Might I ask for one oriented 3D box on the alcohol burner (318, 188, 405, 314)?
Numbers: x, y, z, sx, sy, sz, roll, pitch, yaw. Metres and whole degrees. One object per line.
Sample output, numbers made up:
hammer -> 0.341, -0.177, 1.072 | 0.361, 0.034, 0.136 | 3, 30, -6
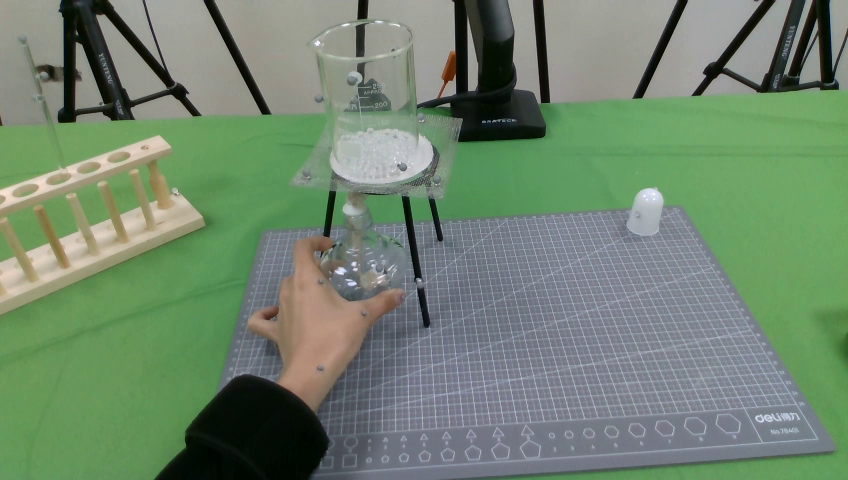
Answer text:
alcohol burner -> -0.056, 0.006, 0.524 | 0.078, 0.120, 0.077 | -2, 37, 2

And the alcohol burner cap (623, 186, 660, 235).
alcohol burner cap -> 0.222, -0.033, 0.614 | 0.034, 0.048, 0.033 | -1, 39, 1

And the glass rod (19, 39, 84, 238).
glass rod -> -0.351, -0.088, 0.577 | 0.008, 0.201, 0.008 | 2, 32, -1

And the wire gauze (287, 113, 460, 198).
wire gauze -> -0.037, -0.074, 0.501 | 0.125, 0.011, 0.120 | 3, 38, 11

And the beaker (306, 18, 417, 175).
beaker -> -0.045, -0.108, 0.464 | 0.084, 0.101, 0.073 | 8, 41, 13

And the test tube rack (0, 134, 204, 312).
test tube rack -> -0.352, -0.015, 0.590 | 0.242, 0.086, 0.066 | -29, 46, -29

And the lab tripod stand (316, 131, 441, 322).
lab tripod stand -> -0.033, -0.017, 0.534 | 0.148, 0.133, 0.147 | -2, 40, 2
